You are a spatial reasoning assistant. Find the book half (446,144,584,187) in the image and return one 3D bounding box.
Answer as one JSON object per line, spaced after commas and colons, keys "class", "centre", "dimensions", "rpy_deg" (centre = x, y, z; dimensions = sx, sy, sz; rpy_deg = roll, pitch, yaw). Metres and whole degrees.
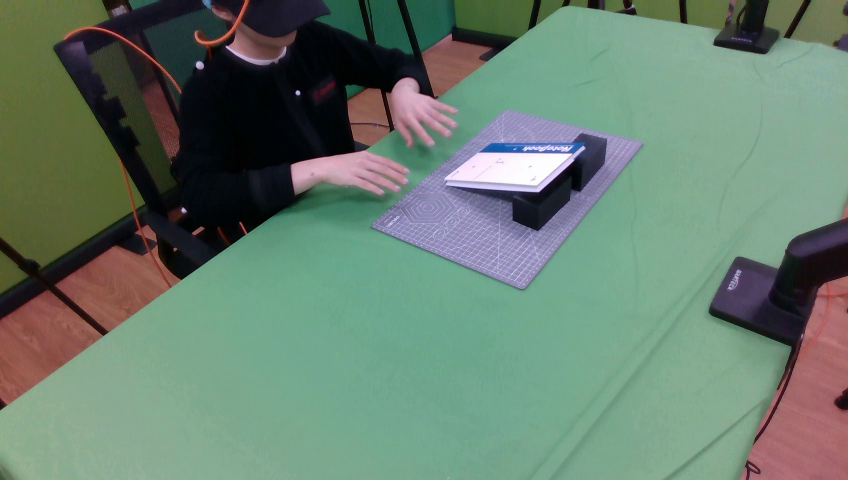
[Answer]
{"class": "book half", "centre": [0.154, -0.134, 1.056], "dimensions": [0.208, 0.007, 0.143], "rpy_deg": [10, 40, 46]}
